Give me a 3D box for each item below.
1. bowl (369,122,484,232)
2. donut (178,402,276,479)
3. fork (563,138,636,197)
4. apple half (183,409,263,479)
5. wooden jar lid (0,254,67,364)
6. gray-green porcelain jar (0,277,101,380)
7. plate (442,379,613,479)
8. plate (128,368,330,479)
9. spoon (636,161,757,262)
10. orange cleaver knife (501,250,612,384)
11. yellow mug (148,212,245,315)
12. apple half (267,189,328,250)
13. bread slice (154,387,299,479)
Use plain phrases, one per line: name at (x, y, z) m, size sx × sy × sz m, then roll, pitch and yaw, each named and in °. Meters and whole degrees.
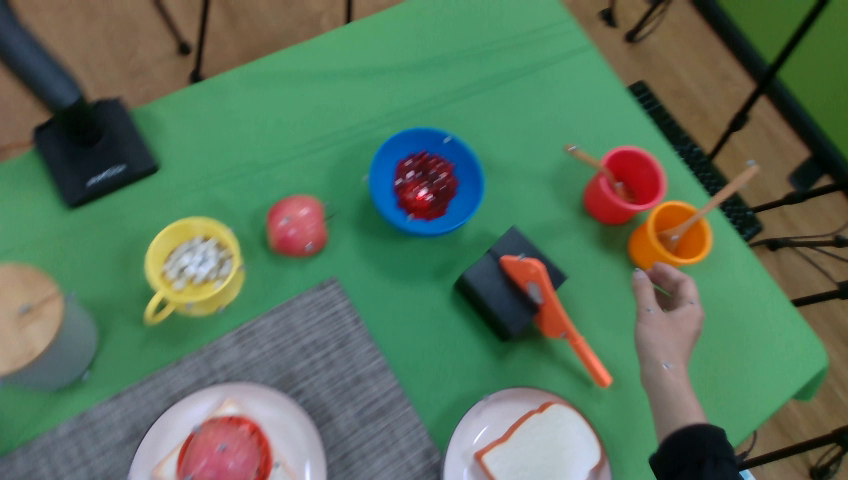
bowl at (-0.002, -0.072, 0.804) m, size 0.152 × 0.077 × 0.150 m, roll 4°, pitch 70°, yaw -10°
donut at (-0.208, 0.222, 0.642) m, size 0.099 × 0.048 × 0.098 m, roll 4°, pitch 69°, yaw -10°
fork at (0.243, -0.097, 0.824) m, size 0.209 × 0.018 × 0.028 m, roll 23°, pitch 58°, yaw -48°
apple half at (-0.203, 0.212, 0.609) m, size 0.081 × 0.033 × 0.081 m, roll 2°, pitch 75°, yaw -6°
wooden jar lid at (-0.400, 0.067, 0.581) m, size 0.108 × 0.021 × 0.107 m, roll 3°, pitch 68°, yaw -8°
gray-green porcelain jar at (-0.411, 0.089, 0.638) m, size 0.106 × 0.127 × 0.105 m, roll 4°, pitch 69°, yaw -10°
plate at (0.121, 0.273, 0.724) m, size 0.210 × 0.038 × 0.207 m, roll 4°, pitch 70°, yaw -9°
plate at (-0.208, 0.247, 0.664) m, size 0.208 × 0.039 × 0.206 m, roll 4°, pitch 70°, yaw -10°
spoon at (0.372, -0.038, 0.827) m, size 0.041 × 0.194 × 0.022 m, roll 51°, pitch 24°, yaw 11°
orange cleaver knife at (0.168, 0.098, 0.773) m, size 0.012 × 0.077 × 0.212 m, roll -40°, pitch 103°, yaw -28°
yellow mug at (-0.277, 0.036, 0.717) m, size 0.100 × 0.064 × 0.130 m, roll 35°, pitch 68°, yaw 3°
apple half at (-0.163, -0.031, 0.771) m, size 0.075 × 0.053 × 0.080 m, roll -7°, pitch 72°, yaw -11°
bread slice at (-0.205, 0.244, 0.666) m, size 0.134 × 0.018 × 0.107 m, roll 41°, pitch 70°, yaw 5°
